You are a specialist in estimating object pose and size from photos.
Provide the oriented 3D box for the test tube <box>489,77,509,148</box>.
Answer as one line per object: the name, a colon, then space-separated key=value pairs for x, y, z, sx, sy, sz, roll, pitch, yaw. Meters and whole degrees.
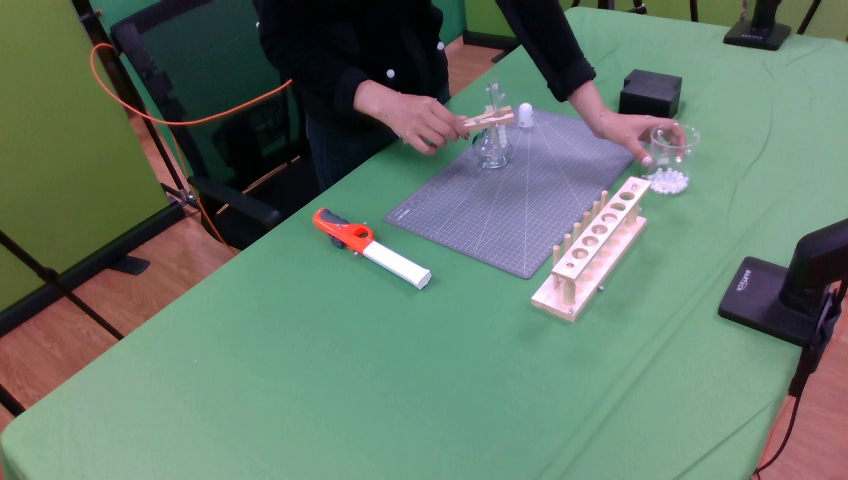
test tube: x=0.119 y=-0.196 z=0.947 sx=0.017 sy=0.151 sz=0.017 roll=-6 pitch=57 yaw=11

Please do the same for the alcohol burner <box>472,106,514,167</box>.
alcohol burner: x=0.126 y=-0.194 z=1.111 sx=0.078 sy=0.119 sz=0.077 roll=-5 pitch=42 yaw=5

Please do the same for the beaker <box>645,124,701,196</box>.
beaker: x=0.410 y=-0.131 z=1.000 sx=0.084 sy=0.101 sz=0.073 roll=-13 pitch=41 yaw=-6

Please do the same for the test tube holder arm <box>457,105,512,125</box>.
test tube holder arm: x=0.096 y=-0.193 z=0.954 sx=0.088 sy=0.015 sz=0.010 roll=-17 pitch=56 yaw=2

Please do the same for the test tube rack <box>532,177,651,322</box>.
test tube rack: x=0.248 y=0.003 z=0.883 sx=0.066 sy=0.085 sz=0.243 roll=22 pitch=49 yaw=32

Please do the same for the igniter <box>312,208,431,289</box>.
igniter: x=-0.096 y=0.008 z=0.985 sx=0.274 sy=0.025 sz=0.057 roll=28 pitch=62 yaw=36

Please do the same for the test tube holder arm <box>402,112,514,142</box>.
test tube holder arm: x=0.053 y=-0.178 z=0.955 sx=0.178 sy=0.015 sz=0.013 roll=-11 pitch=56 yaw=7

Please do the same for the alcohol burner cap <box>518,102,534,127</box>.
alcohol burner cap: x=0.205 y=-0.255 z=1.223 sx=0.034 sy=0.048 sz=0.033 roll=-6 pitch=41 yaw=6
